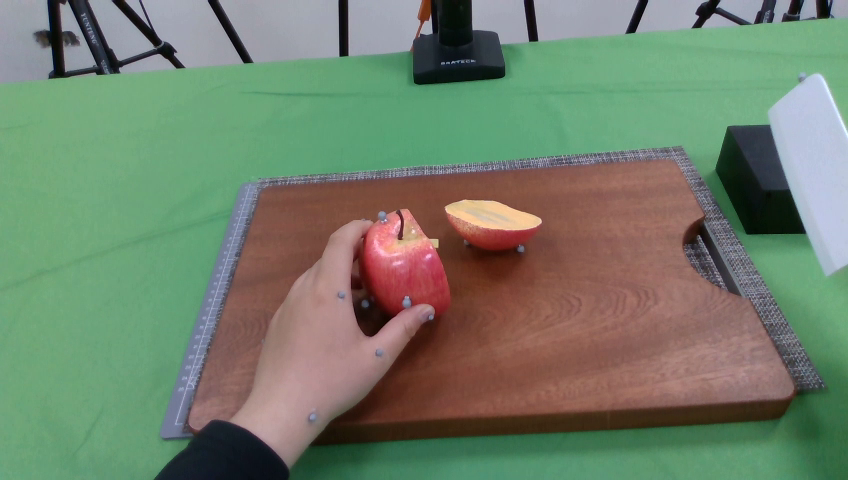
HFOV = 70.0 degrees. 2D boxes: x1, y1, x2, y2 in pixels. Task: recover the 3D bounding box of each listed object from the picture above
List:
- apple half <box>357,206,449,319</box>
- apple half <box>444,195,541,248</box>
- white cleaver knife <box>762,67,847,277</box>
[{"bbox_3d":[-0.020,0.022,0.443,0.053,0.075,0.080,-23,49,-12],"label":"apple half"},{"bbox_3d":[0.051,-0.010,0.494,0.081,0.033,0.081,7,21,-2],"label":"apple half"},{"bbox_3d":[0.304,-0.010,0.431,0.021,0.066,0.283,9,55,-11],"label":"white cleaver knife"}]
